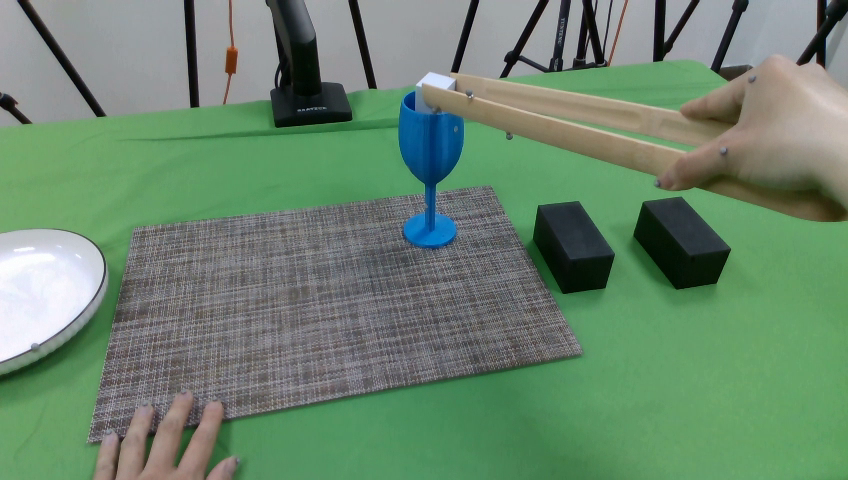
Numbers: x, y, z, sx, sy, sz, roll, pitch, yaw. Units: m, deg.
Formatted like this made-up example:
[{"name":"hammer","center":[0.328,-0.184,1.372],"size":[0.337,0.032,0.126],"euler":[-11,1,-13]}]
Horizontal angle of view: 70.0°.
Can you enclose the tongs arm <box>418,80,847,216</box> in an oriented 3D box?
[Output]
[{"name":"tongs arm","center":[0.133,-0.090,0.483],"size":[0.051,0.027,0.381],"euler":[-29,38,-29]}]

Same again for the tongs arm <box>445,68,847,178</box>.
[{"name":"tongs arm","center":[0.152,-0.101,0.496],"size":[0.028,0.028,0.383],"euler":[-28,38,-34]}]

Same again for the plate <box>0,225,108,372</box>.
[{"name":"plate","center":[-0.427,0.061,0.609],"size":[0.209,0.038,0.207],"euler":[1,40,0]}]

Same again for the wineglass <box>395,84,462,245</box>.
[{"name":"wineglass","center":[0.004,-0.081,0.679],"size":[0.074,0.174,0.073],"euler":[1,40,0]}]
